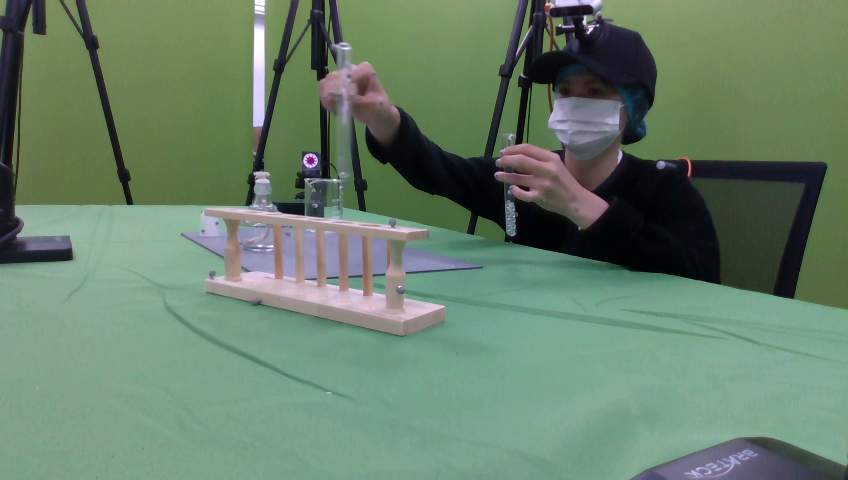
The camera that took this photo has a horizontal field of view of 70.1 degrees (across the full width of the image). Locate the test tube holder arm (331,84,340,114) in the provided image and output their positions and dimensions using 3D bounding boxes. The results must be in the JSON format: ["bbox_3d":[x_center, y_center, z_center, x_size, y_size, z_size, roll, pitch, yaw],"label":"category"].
[{"bbox_3d":[-0.107,-0.171,0.740,0.013,0.015,0.178,4,5,-10],"label":"test tube holder arm"}]

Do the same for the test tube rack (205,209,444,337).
[{"bbox_3d":[-0.100,0.021,0.565,0.241,0.085,0.067,7,8,32],"label":"test tube rack"}]

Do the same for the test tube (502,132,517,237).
[{"bbox_3d":[0.122,-0.078,0.864,0.017,0.150,0.017,-4,11,1],"label":"test tube"}]

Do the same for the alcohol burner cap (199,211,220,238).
[{"bbox_3d":[-0.356,-0.027,1.002,0.034,0.048,0.034,3,7,0],"label":"alcohol burner cap"}]

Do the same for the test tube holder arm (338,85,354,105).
[{"bbox_3d":[-0.093,-0.166,0.697,0.010,0.015,0.087,3,5,-17],"label":"test tube holder arm"}]

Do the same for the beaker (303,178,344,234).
[{"bbox_3d":[-0.189,-0.063,1.119,0.073,0.100,0.084,6,9,28],"label":"beaker"}]

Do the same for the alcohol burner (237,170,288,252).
[{"bbox_3d":[-0.236,-0.042,0.882,0.078,0.119,0.078,2,9,0],"label":"alcohol burner"}]

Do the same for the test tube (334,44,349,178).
[{"bbox_3d":[-0.091,-0.143,0.672,0.017,0.150,0.017,-1,-3,0],"label":"test tube"}]
